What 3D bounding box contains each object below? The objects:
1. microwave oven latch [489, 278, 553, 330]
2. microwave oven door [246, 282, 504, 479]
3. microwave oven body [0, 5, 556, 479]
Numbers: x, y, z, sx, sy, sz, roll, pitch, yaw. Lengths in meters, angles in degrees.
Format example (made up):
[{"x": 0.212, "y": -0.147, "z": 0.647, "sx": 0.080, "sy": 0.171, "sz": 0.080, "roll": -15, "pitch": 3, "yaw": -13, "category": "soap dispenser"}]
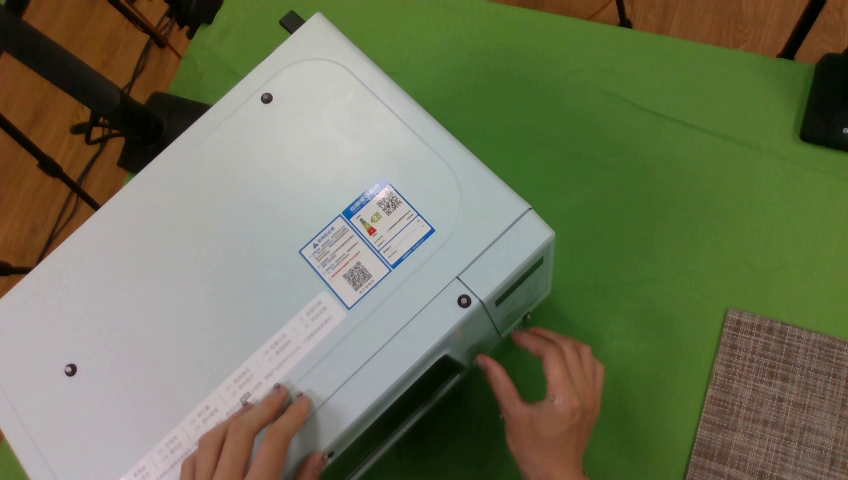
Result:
[{"x": 0.106, "y": 0.062, "z": 0.664, "sx": 0.079, "sy": 0.030, "sz": 0.030, "roll": -42, "pitch": 72, "yaw": -1, "category": "microwave oven latch"}, {"x": -0.073, "y": 0.185, "z": 0.558, "sx": 0.355, "sy": 0.245, "sz": 0.039, "roll": -44, "pitch": 71, "yaw": -3, "category": "microwave oven door"}, {"x": -0.139, "y": 0.059, "z": 0.610, "sx": 0.441, "sy": 0.262, "sz": 0.324, "roll": -44, "pitch": 72, "yaw": -2, "category": "microwave oven body"}]
